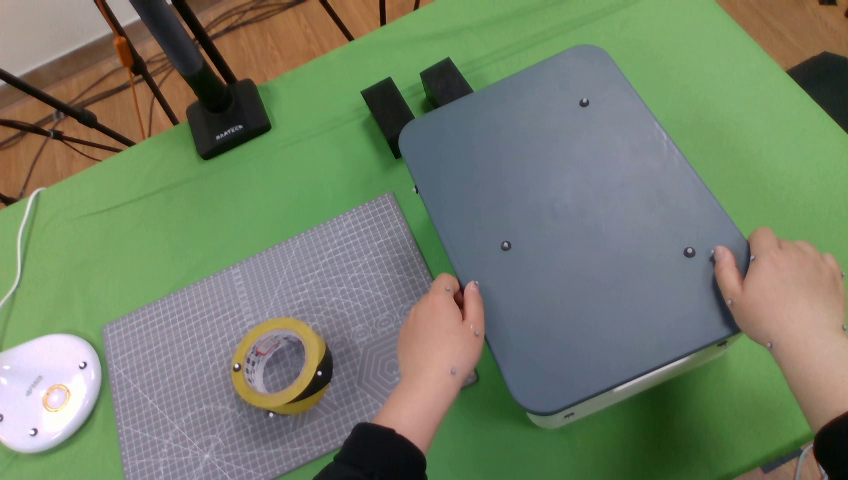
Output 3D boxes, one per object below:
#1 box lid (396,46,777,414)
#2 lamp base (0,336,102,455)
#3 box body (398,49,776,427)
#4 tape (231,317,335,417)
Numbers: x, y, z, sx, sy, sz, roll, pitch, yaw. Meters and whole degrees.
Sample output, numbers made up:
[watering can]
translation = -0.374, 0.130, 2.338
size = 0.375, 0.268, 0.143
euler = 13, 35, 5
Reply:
[box lid]
translation = 0.142, -0.036, 0.625
size = 0.263, 0.015, 0.367
euler = -24, 62, 0
[lamp base]
translation = -0.537, 0.171, 0.752
size = 0.178, 0.182, 0.159
euler = 9, 66, 20
[box body]
translation = 0.158, -0.001, 0.688
size = 0.254, 0.162, 0.360
euler = -25, 61, 0
[tape]
translation = -0.174, 0.156, 0.747
size = 0.116, 0.053, 0.116
euler = -5, 63, 10
